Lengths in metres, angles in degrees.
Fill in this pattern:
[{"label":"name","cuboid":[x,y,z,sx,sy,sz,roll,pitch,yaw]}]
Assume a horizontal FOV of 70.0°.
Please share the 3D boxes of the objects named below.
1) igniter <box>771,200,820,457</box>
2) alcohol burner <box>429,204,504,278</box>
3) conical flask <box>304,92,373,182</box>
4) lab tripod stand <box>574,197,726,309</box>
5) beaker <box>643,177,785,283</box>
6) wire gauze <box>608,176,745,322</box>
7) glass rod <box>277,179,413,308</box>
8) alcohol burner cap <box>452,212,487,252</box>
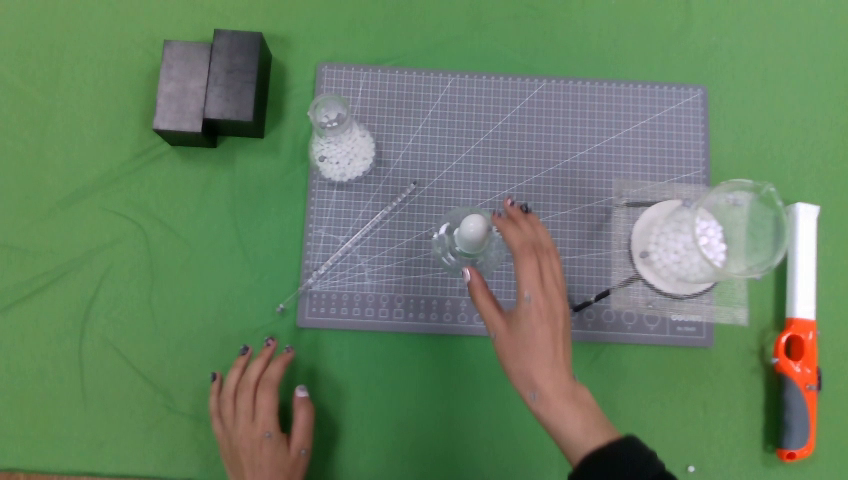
[{"label":"igniter","cuboid":[0.402,0.093,0.655,0.057,0.025,0.275,9,80,-12]},{"label":"alcohol burner","cuboid":[0.044,-0.002,0.609,0.078,0.119,0.077,0,81,0]},{"label":"conical flask","cuboid":[-0.093,-0.109,0.616,0.075,0.122,0.075,0,80,-2]},{"label":"lab tripod stand","cuboid":[0.222,0.020,0.603,0.148,0.132,0.148,0,82,-2]},{"label":"beaker","cuboid":[0.229,-0.005,0.492,0.074,0.100,0.084,38,82,4]},{"label":"wire gauze","cuboid":[0.225,0.007,0.538,0.125,0.011,0.121,6,84,-3]},{"label":"glass rod","cuboid":[-0.084,0.002,0.655,0.199,0.008,0.008,-44,85,-8]},{"label":"alcohol burner cap","cuboid":[0.045,-0.010,0.574,0.034,0.048,0.033,1,74,-3]}]
